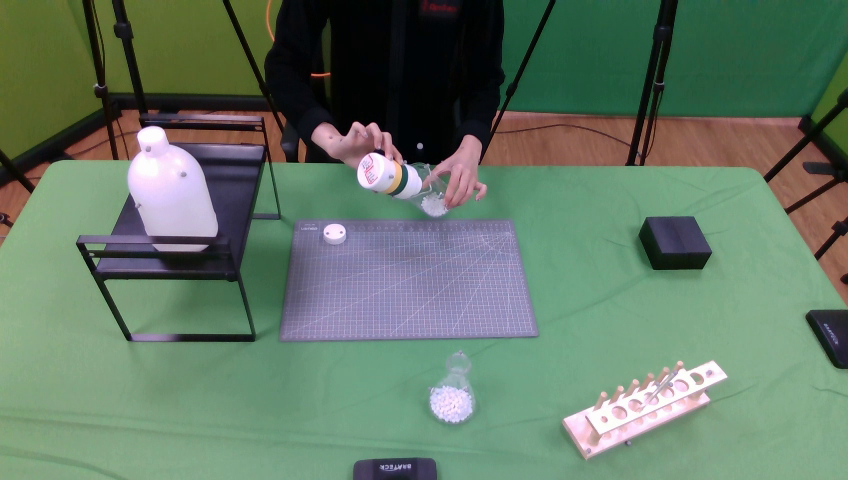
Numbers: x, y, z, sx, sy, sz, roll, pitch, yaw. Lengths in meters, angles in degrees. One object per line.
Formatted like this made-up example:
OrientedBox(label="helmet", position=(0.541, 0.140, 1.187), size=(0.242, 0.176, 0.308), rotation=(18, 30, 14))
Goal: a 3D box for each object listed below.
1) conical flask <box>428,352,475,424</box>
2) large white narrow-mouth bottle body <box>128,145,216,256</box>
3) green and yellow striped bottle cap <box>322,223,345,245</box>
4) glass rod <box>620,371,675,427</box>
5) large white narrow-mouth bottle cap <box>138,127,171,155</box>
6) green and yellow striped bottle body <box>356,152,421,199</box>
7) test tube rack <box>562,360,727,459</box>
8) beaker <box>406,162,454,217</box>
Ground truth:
OrientedBox(label="conical flask", position=(0.046, 0.220, 0.920), size=(0.075, 0.122, 0.075), rotation=(2, 46, -2))
OrientedBox(label="large white narrow-mouth bottle body", position=(-0.366, -0.073, 0.872), size=(0.102, 0.195, 0.101), rotation=(3, 47, -3))
OrientedBox(label="green and yellow striped bottle cap", position=(-0.178, -0.013, 1.197), size=(0.045, 0.020, 0.045), rotation=(2, 48, -2))
OrientedBox(label="glass rod", position=(0.316, 0.230, 0.863), size=(0.008, 0.200, 0.008), rotation=(3, 54, -3))
OrientedBox(label="large white narrow-mouth bottle cap", position=(-0.359, -0.132, 0.807), size=(0.038, 0.024, 0.037), rotation=(3, 47, -3))
OrientedBox(label="green and yellow striped bottle body", position=(-0.057, -0.110, 1.071), size=(0.120, 0.063, 0.063), rotation=(13, 29, -50))
OrientedBox(label="test tube rack", position=(0.341, 0.247, 0.940), size=(0.243, 0.085, 0.066), rotation=(-16, 49, -18))
OrientedBox(label="beaker", position=(0.007, -0.091, 1.146), size=(0.083, 0.101, 0.074), rotation=(33, 89, 40))
